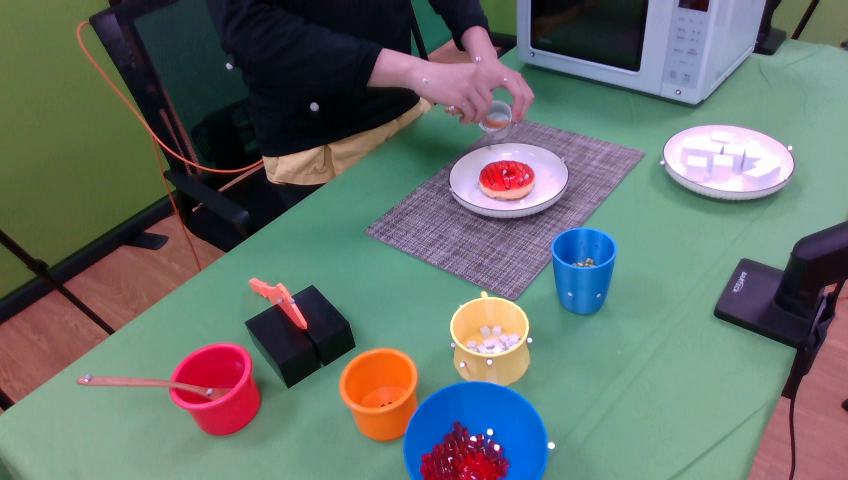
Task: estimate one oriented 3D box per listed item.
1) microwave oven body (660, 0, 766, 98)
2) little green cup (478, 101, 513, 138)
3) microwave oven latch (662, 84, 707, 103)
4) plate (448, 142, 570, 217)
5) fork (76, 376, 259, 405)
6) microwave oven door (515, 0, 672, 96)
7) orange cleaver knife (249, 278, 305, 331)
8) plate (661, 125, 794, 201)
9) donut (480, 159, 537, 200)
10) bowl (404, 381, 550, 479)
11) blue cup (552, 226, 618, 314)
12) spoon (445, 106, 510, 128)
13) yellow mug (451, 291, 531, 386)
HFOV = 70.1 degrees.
[{"bbox_3d":[0.473,-0.513,1.317,0.438,0.261,0.327,26,51,34],"label":"microwave oven body"},{"bbox_3d":[0.127,-0.210,1.067,0.061,0.039,0.061,-1,81,9],"label":"little green cup"},{"bbox_3d":[0.517,-0.296,1.204,0.078,0.029,0.030,27,52,35],"label":"microwave oven latch"},{"bbox_3d":[0.148,-0.101,1.053,0.209,0.038,0.208,-4,39,4],"label":"plate"},{"bbox_3d":[-0.295,0.176,0.716,0.209,0.018,0.028,19,26,-36],"label":"fork"},{"bbox_3d":[0.344,-0.455,1.260,0.353,0.245,0.039,26,51,33],"label":"microwave oven door"},{"bbox_3d":[-0.210,0.088,0.856,0.012,0.077,0.210,-28,15,-25],"label":"orange cleaver knife"},{"bbox_3d":[0.513,-0.128,1.035,0.207,0.039,0.206,-4,40,4],"label":"plate"},{"bbox_3d":[0.146,-0.106,1.042,0.099,0.048,0.098,-5,38,4],"label":"donut"},{"bbox_3d":[0.058,0.235,0.645,0.151,0.077,0.150,-4,39,4],"label":"bowl"},{"bbox_3d":[0.218,0.047,0.826,0.092,0.101,0.092,-6,40,5],"label":"blue cup"},{"bbox_3d":[0.085,-0.200,0.969,0.041,0.021,0.195,1,0,34],"label":"spoon"},{"bbox_3d":[0.085,0.120,0.786,0.100,0.064,0.130,-7,39,1],"label":"yellow mug"}]
